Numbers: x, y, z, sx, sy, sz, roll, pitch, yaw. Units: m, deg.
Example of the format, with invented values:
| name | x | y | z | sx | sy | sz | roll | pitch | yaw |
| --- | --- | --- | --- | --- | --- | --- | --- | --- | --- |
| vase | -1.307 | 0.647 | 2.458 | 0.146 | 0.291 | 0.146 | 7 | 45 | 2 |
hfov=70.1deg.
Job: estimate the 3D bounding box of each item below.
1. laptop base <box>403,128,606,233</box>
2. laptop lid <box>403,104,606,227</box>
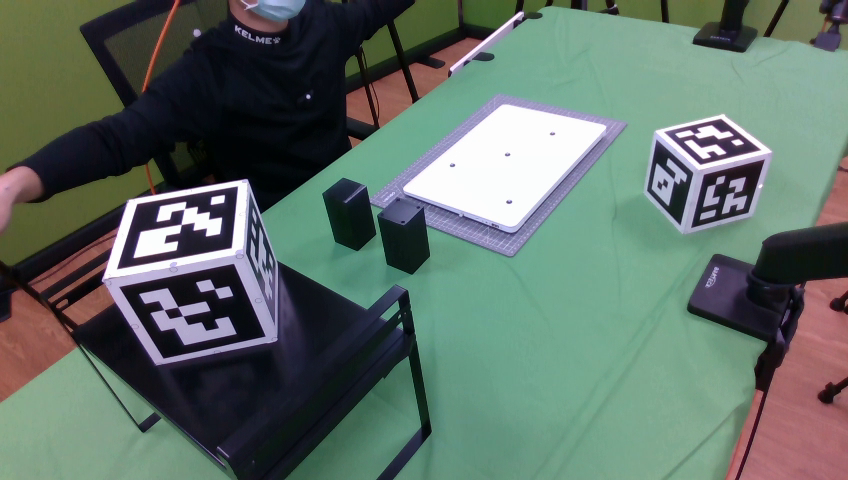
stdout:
| name | x | y | z | sx | sy | sz | roll | pitch | yaw |
| --- | --- | --- | --- | --- | --- | --- | --- | --- | --- |
| laptop base | 0.156 | -0.144 | 1.116 | 0.233 | 0.023 | 0.355 | 20 | 47 | 32 |
| laptop lid | 0.153 | -0.154 | 1.110 | 0.240 | 0.013 | 0.358 | 22 | 48 | 33 |
